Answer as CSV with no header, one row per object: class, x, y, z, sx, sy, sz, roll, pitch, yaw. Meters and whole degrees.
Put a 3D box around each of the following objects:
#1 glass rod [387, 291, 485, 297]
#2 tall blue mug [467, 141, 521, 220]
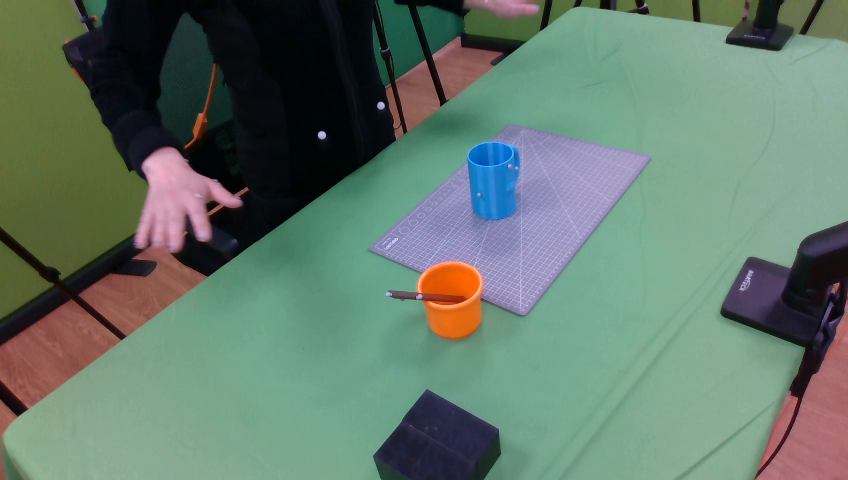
glass rod,0.022,0.073,0.808,0.008,0.008,0.201,31,16,38
tall blue mug,0.119,-0.109,1.020,0.077,0.108,0.107,2,42,15
